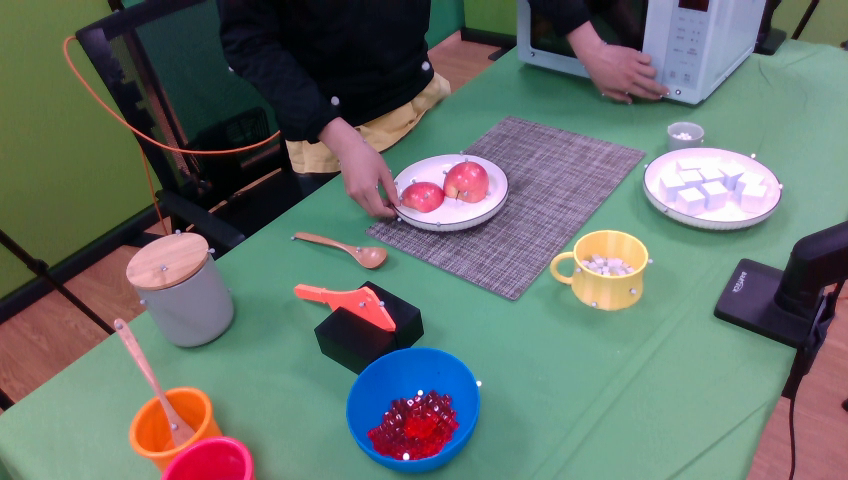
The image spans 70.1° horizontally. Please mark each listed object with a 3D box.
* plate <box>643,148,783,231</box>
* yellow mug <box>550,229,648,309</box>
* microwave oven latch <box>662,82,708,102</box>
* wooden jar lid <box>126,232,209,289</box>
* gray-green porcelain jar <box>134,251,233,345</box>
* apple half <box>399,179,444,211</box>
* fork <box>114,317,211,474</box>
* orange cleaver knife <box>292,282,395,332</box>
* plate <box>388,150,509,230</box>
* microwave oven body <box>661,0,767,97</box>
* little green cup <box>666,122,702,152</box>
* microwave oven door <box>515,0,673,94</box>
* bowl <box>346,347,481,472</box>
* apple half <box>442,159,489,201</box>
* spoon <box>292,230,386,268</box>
[{"bbox_3d":[0.464,-0.080,0.986,0.207,0.039,0.206,-4,41,4],"label":"plate"},{"bbox_3d":[0.245,0.039,0.857,0.130,0.064,0.099,1,42,11],"label":"yellow mug"},{"bbox_3d":[0.517,-0.298,1.202,0.078,0.029,0.030,27,52,34],"label":"microwave oven latch"},{"bbox_3d":[-0.340,0.030,0.808,0.108,0.021,0.108,-5,39,5],"label":"wooden jar lid"},{"bbox_3d":[-0.334,0.076,0.849,0.106,0.127,0.105,-4,41,4],"label":"gray-green porcelain jar"},{"bbox_3d":[-0.004,-0.088,1.045,0.081,0.033,0.081,-1,43,2],"label":"apple half"},{"bbox_3d":[-0.309,0.179,0.708,0.028,0.018,0.207,-30,89,-24],"label":"fork"},{"bbox_3d":[-0.116,0.091,0.835,0.209,0.077,0.012,2,32,48],"label":"orange cleaver knife"},{"bbox_3d":[0.044,-0.083,1.042,0.209,0.038,0.208,-4,40,4],"label":"plate"},{"bbox_3d":[0.473,-0.516,1.313,0.438,0.261,0.327,26,51,34],"label":"microwave oven body"},{"bbox_3d":[0.471,-0.184,1.102,0.061,0.039,0.061,-5,41,5],"label":"little green cup"},{"bbox_3d":[0.344,-0.458,1.256,0.353,0.245,0.039,26,51,33],"label":"microwave oven door"},{"bbox_3d":[-0.008,0.205,0.691,0.151,0.077,0.150,-4,40,4],"label":"bowl"},{"bbox_3d":[0.074,-0.110,1.047,0.080,0.053,0.075,21,45,30],"label":"apple half"},{"bbox_3d":[-0.141,0.007,0.982,0.192,0.022,0.041,17,67,25],"label":"spoon"}]
